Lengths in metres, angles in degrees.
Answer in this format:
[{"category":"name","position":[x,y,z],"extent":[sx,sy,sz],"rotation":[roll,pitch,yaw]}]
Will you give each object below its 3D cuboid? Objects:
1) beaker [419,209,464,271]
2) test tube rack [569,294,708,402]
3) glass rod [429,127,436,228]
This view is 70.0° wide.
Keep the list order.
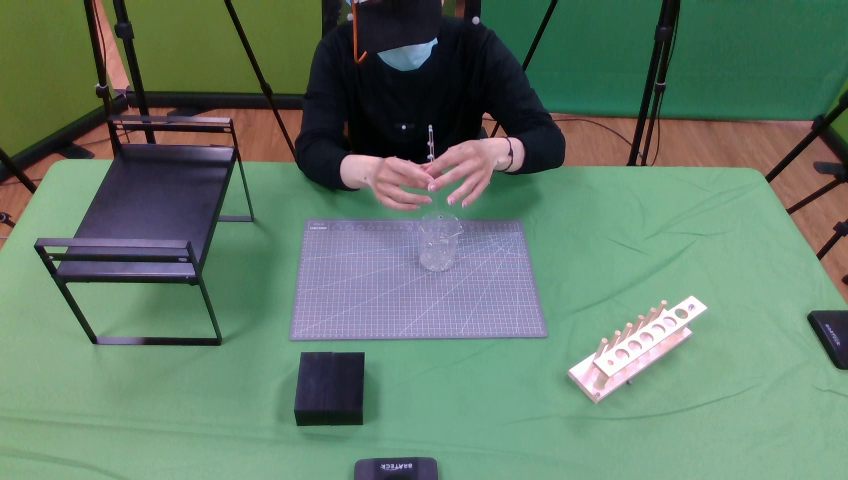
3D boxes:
[{"category":"beaker","position":[0.030,0.004,1.135],"extent":[0.084,0.101,0.073],"rotation":[11,47,6]},{"category":"test tube rack","position":[0.360,0.167,1.015],"extent":[0.242,0.085,0.066],"rotation":[-25,52,-25]},{"category":"glass rod","position":[0.014,-0.104,1.052],"extent":[0.008,0.201,0.008],"rotation":[-2,36,1]}]
